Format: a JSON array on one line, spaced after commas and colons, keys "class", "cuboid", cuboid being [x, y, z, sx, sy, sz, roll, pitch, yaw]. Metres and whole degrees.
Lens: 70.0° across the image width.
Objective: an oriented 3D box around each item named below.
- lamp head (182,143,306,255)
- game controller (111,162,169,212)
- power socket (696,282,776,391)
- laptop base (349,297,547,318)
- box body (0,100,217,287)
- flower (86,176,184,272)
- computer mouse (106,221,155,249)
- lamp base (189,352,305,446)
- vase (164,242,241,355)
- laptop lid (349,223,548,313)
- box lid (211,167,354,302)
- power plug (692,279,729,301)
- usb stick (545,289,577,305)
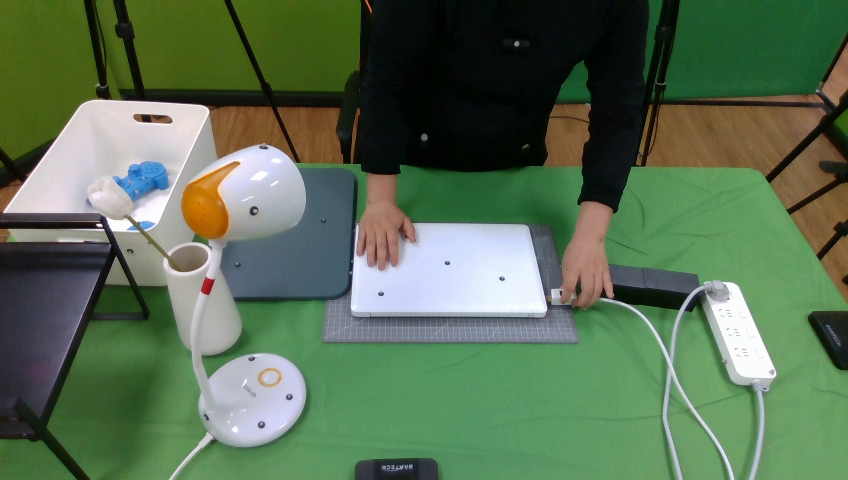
[{"class": "lamp head", "cuboid": [-0.215, -0.043, 0.696, 0.112, 0.113, 0.123, 23, 31, 17]}, {"class": "game controller", "cuboid": [-0.597, -0.113, 1.234, 0.097, 0.052, 0.155, 29, 52, 20]}, {"class": "power socket", "cuboid": [0.551, 0.161, 1.078, 0.072, 0.033, 0.225, 2, 46, -1]}, {"class": "laptop base", "cuboid": [0.041, 0.056, 1.148, 0.354, 0.023, 0.234, 0, 42, -4]}, {"class": "box body", "cuboid": [-0.559, -0.092, 1.144, 0.254, 0.161, 0.361, 3, 46, -2]}, {"class": "flower", "cuboid": [-0.365, 0.039, 0.894, 0.038, 0.364, 0.044, -4, 53, 15]}, {"class": "computer mouse", "cuboid": [-0.537, 0.009, 1.127, 0.062, 0.041, 0.117, 31, 55, 21]}, {"class": "lamp base", "cuboid": [-0.268, 0.197, 0.876, 0.160, 0.181, 0.179, 26, 52, 20]}, {"class": "vase", "cuboid": [-0.349, 0.096, 0.953, 0.098, 0.201, 0.097, 3, 47, -3]}, {"class": "laptop lid", "cuboid": [0.042, 0.047, 1.143, 0.357, 0.013, 0.240, 2, 43, -3]}, {"class": "box lid", "cuboid": [-0.276, -0.023, 1.205, 0.263, 0.015, 0.369, 0, 46, -4]}, {"class": "power plug", "cuboid": [0.522, 0.091, 1.115, 0.072, 0.053, 0.035, 11, 48, 8]}, {"class": "usb stick", "cuboid": [0.246, 0.103, 1.101, 0.059, 0.027, 0.021, -5, 58, 7]}]
